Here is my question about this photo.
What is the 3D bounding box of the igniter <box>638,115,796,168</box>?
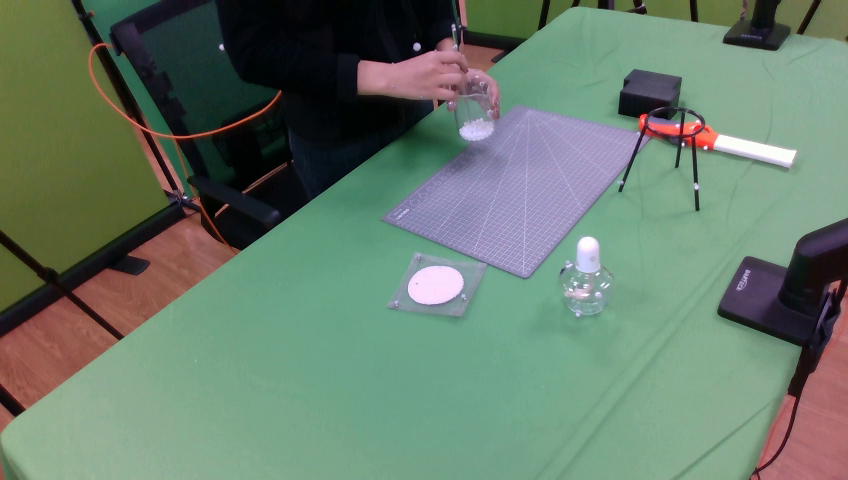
[{"bbox_3d":[0.517,-0.181,1.093,0.274,0.025,0.057,23,65,32],"label":"igniter"}]

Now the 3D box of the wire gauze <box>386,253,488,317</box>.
[{"bbox_3d":[0.021,0.066,0.910,0.121,0.011,0.125,9,41,20],"label":"wire gauze"}]

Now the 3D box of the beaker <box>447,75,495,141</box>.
[{"bbox_3d":[0.091,-0.237,1.099,0.074,0.101,0.083,-37,45,-25],"label":"beaker"}]

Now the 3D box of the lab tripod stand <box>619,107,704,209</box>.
[{"bbox_3d":[0.400,-0.136,0.981,0.148,0.132,0.147,-4,41,4],"label":"lab tripod stand"}]

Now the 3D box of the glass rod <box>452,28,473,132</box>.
[{"bbox_3d":[0.067,-0.272,1.049,0.008,0.201,0.008,-8,42,8],"label":"glass rod"}]

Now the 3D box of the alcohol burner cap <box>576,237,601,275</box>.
[{"bbox_3d":[0.216,0.018,0.793,0.034,0.048,0.033,-7,35,5],"label":"alcohol burner cap"}]

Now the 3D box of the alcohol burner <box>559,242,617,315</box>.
[{"bbox_3d":[0.222,0.045,0.816,0.078,0.119,0.077,-4,42,4],"label":"alcohol burner"}]
